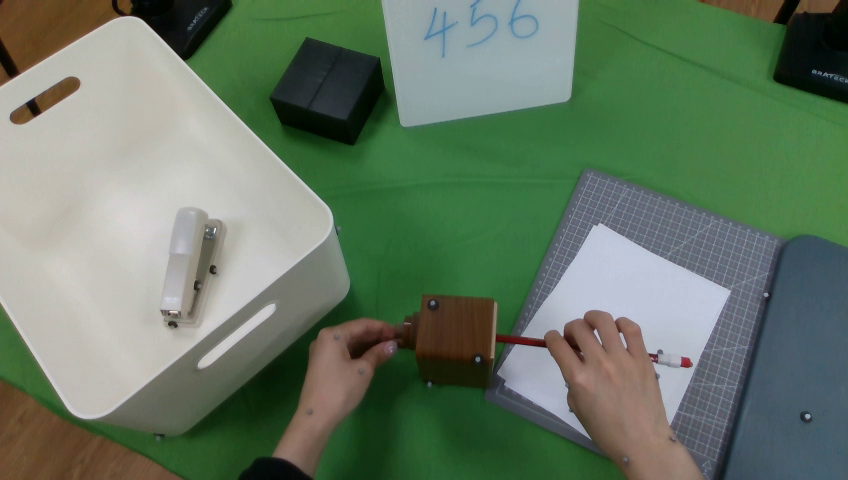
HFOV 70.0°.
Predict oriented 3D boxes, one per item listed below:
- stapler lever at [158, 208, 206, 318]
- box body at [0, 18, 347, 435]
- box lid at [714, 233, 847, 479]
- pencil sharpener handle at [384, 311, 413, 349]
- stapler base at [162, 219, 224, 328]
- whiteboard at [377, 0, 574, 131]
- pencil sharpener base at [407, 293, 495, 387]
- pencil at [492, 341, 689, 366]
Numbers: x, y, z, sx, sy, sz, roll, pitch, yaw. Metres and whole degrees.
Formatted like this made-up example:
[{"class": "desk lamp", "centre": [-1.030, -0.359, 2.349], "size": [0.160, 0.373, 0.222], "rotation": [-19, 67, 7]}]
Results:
[{"class": "stapler lever", "centre": [-0.256, 0.022, 0.639], "size": [0.027, 0.040, 0.117], "rotation": [3, 67, 7]}, {"class": "box body", "centre": [-0.280, -0.015, 0.616], "size": [0.254, 0.161, 0.361], "rotation": [-41, 69, -15]}, {"class": "box lid", "centre": [0.434, 0.181, 0.573], "size": [0.262, 0.015, 0.370], "rotation": [22, 68, 12]}, {"class": "pencil sharpener handle", "centre": [-0.026, 0.089, 0.571], "size": [0.030, 0.068, 0.035], "rotation": [4, 64, 5]}, {"class": "stapler base", "centre": [-0.255, 0.031, 0.663], "size": [0.041, 0.024, 0.129], "rotation": [3, 66, 6]}, {"class": "whiteboard", "centre": [0.051, -0.308, 0.696], "size": [0.217, 0.308, 0.142], "rotation": [-9, 45, -1]}, {"class": "pencil sharpener base", "centre": [0.026, 0.098, 0.578], "size": [0.076, 0.108, 0.061], "rotation": [4, 65, 5]}, {"class": "pencil", "centre": [0.137, 0.098, 0.532], "size": [0.194, 0.012, 0.012], "rotation": [5, 64, -2]}]
